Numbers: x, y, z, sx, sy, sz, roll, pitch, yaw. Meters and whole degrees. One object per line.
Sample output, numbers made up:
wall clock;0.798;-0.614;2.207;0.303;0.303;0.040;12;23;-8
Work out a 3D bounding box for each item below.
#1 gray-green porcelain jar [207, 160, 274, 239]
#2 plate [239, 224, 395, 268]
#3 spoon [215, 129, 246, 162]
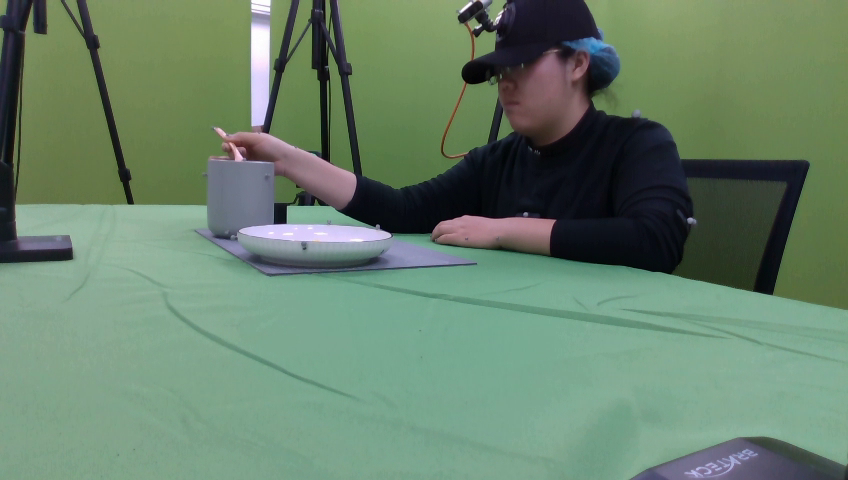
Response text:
gray-green porcelain jar;-0.304;-0.068;1.004;0.106;0.126;0.106;3;7;0
plate;-0.144;0.007;0.823;0.208;0.039;0.207;3;7;0
spoon;-0.324;-0.152;1.035;0.042;0.021;0.193;2;33;-38
